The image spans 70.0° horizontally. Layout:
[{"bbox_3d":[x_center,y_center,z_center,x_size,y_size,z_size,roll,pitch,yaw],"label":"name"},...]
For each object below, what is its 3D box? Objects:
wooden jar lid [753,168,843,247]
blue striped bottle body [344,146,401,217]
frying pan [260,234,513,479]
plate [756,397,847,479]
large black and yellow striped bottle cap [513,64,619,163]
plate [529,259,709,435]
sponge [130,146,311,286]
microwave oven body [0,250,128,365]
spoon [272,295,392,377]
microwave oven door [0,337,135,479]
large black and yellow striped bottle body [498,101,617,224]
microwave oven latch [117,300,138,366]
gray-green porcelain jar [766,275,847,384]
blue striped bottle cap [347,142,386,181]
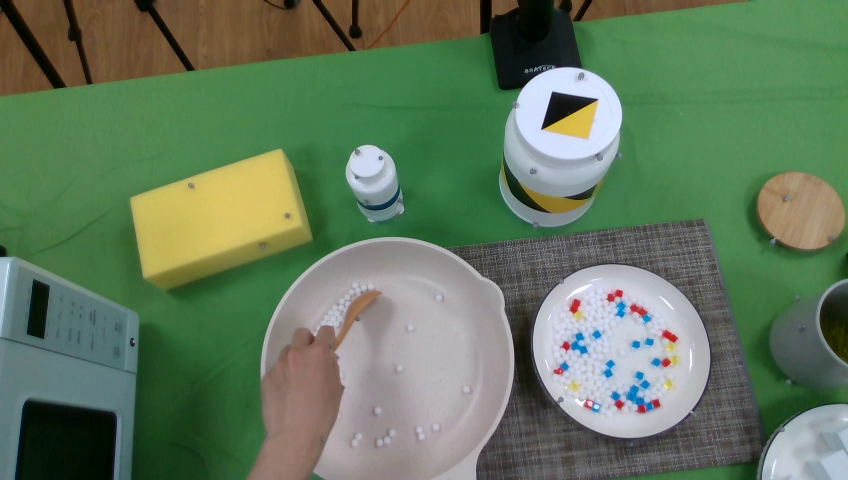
[{"bbox_3d":[0.480,-0.041,0.784,0.108,0.021,0.107,-1,73,3],"label":"wooden jar lid"},{"bbox_3d":[-0.066,-0.078,0.775,0.063,0.121,0.062,-1,71,3],"label":"blue striped bottle body"},{"bbox_3d":[0.006,0.218,0.676,0.307,0.103,0.483,-29,64,-5],"label":"frying pan"},{"bbox_3d":[0.471,0.280,0.667,0.207,0.039,0.206,-1,71,3],"label":"plate"},{"bbox_3d":[0.154,-0.139,0.660,0.115,0.019,0.114,-1,73,3],"label":"large black and yellow striped bottle cap"},{"bbox_3d":[0.230,0.126,0.729,0.209,0.038,0.208,-1,72,4],"label":"plate"},{"bbox_3d":[-0.267,-0.031,0.802,0.207,0.061,0.117,-20,71,-4],"label":"sponge"},{"bbox_3d":[-0.512,0.266,0.607,0.326,0.262,0.438,-6,72,1],"label":"microwave oven body"},{"bbox_3d":[-0.101,0.109,0.700,0.021,0.194,0.041,-36,84,36],"label":"spoon"},{"bbox_3d":[-0.364,0.289,0.585,0.039,0.245,0.353,-6,71,1],"label":"microwave oven door"},{"bbox_3d":[0.159,-0.110,0.739,0.131,0.185,0.130,-1,71,3],"label":"large black and yellow striped bottle body"},{"bbox_3d":[-0.374,0.116,0.752,0.030,0.030,0.078,-5,72,1],"label":"microwave oven latch"},{"bbox_3d":[0.458,0.105,0.680,0.106,0.127,0.105,-1,71,3],"label":"gray-green porcelain jar"},{"bbox_3d":[-0.069,-0.095,0.726,0.044,0.021,0.044,-2,68,5],"label":"blue striped bottle cap"}]
